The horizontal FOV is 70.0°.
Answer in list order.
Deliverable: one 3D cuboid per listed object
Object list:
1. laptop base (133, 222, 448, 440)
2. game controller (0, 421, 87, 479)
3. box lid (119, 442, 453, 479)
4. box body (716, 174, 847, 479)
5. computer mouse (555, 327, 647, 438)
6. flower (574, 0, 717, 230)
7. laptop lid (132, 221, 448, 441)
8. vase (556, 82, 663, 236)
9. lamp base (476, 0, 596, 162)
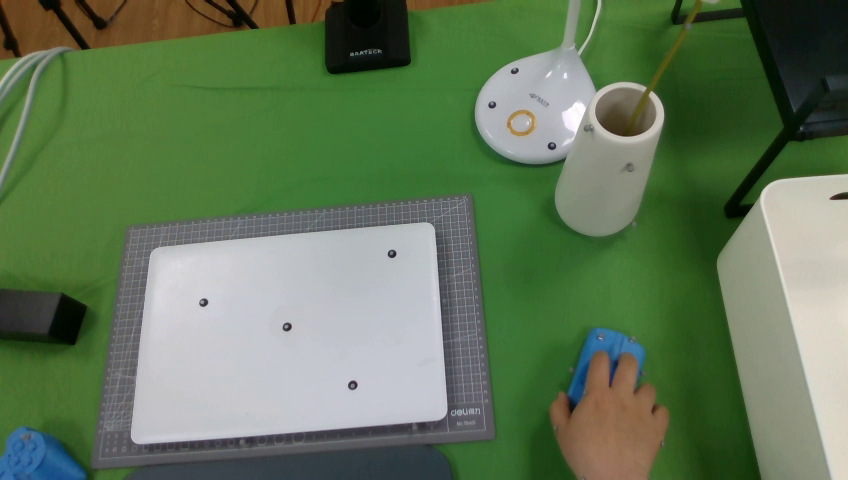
[{"bbox_3d":[-0.154,0.101,0.708,0.354,0.023,0.234,-5,70,3],"label":"laptop base"},{"bbox_3d":[-0.456,0.268,0.651,0.155,0.052,0.096,-40,67,-12],"label":"game controller"},{"bbox_3d":[-0.149,0.349,0.609,0.371,0.015,0.261,-5,67,3],"label":"box lid"},{"bbox_3d":[0.446,0.133,0.561,0.254,0.161,0.361,-3,67,5],"label":"box body"},{"bbox_3d":[0.190,0.148,0.646,0.062,0.041,0.117,26,68,18],"label":"computer mouse"},{"bbox_3d":[0.205,-0.124,0.582,0.038,0.364,0.043,-11,55,-18],"label":"flower"},{"bbox_3d":[-0.155,0.099,0.697,0.356,0.013,0.240,-4,69,4],"label":"laptop lid"},{"bbox_3d":[0.197,-0.082,0.655,0.098,0.201,0.097,-3,65,6],"label":"vase"},{"bbox_3d":[0.146,-0.213,0.725,0.160,0.181,0.178,27,69,16],"label":"lamp base"}]
